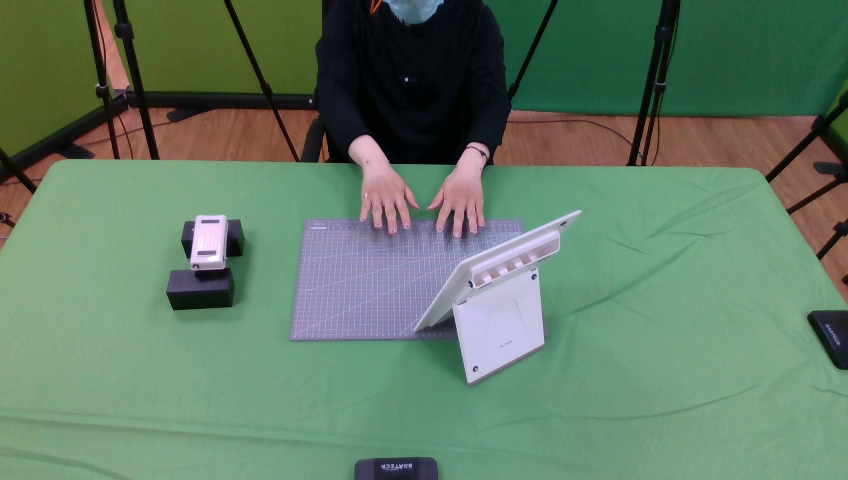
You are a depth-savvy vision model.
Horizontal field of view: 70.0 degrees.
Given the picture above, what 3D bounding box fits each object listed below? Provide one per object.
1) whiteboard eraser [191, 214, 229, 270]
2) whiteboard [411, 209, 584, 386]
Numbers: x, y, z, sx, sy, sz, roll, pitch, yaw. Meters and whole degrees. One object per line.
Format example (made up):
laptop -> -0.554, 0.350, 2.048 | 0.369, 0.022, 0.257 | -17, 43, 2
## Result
whiteboard eraser -> -0.381, 0.005, 1.083 | 0.056, 0.042, 0.112 | 0, 50, -13
whiteboard -> 0.134, 0.110, 0.944 | 0.217, 0.306, 0.143 | -21, 72, -23
